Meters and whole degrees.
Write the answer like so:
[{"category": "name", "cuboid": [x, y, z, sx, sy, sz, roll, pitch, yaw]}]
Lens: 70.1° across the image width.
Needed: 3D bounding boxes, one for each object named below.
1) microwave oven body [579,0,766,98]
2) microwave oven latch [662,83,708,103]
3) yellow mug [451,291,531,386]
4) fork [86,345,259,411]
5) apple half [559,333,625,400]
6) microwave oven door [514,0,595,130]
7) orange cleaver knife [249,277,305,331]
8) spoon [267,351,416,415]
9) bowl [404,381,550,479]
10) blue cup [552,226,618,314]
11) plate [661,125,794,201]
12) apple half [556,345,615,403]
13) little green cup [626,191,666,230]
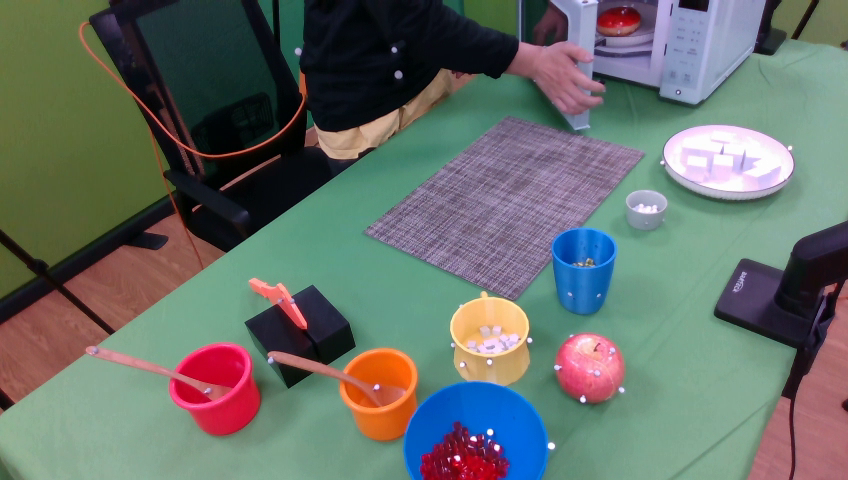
[{"category": "microwave oven body", "cuboid": [0.472, -0.513, 1.317, 0.438, 0.261, 0.327, 26, 51, 34]}, {"category": "microwave oven latch", "cuboid": [0.518, -0.297, 1.204, 0.078, 0.029, 0.030, 29, 53, 36]}, {"category": "yellow mug", "cuboid": [0.086, 0.120, 0.786, 0.100, 0.064, 0.130, -7, 39, 1]}, {"category": "fork", "cuboid": [-0.298, 0.167, 0.728, 0.209, 0.018, 0.028, 29, 46, -23]}, {"category": "apple half", "cuboid": [0.209, 0.147, 0.730, 0.080, 0.075, 0.053, 26, 47, 38]}, {"category": "microwave oven door", "cuboid": [0.255, -0.414, 1.225, 0.039, 0.245, 0.353, -13, 41, -6]}, {"category": "orange cleaver knife", "cuboid": [-0.210, 0.088, 0.855, 0.012, 0.077, 0.210, -28, 15, -25]}, {"category": "spoon", "cuboid": [-0.091, 0.162, 0.699, 0.021, 0.195, 0.041, -45, 30, 26]}, {"category": "bowl", "cuboid": [0.058, 0.235, 0.645, 0.151, 0.077, 0.150, -4, 39, 4]}, {"category": "blue cup", "cuboid": [0.218, 0.047, 0.826, 0.092, 0.101, 0.092, -6, 40, 5]}, {"category": "plate", "cuboid": [0.513, -0.128, 1.035, 0.207, 0.039, 0.206, -4, 40, 4]}, {"category": "apple half", "cuboid": [0.181, 0.167, 0.709, 0.080, 0.081, 0.033, 29, 50, 35]}, {"category": "little green cup", "cuboid": [0.352, -0.046, 0.963, 0.061, 0.039, 0.061, -4, 40, 4]}]
